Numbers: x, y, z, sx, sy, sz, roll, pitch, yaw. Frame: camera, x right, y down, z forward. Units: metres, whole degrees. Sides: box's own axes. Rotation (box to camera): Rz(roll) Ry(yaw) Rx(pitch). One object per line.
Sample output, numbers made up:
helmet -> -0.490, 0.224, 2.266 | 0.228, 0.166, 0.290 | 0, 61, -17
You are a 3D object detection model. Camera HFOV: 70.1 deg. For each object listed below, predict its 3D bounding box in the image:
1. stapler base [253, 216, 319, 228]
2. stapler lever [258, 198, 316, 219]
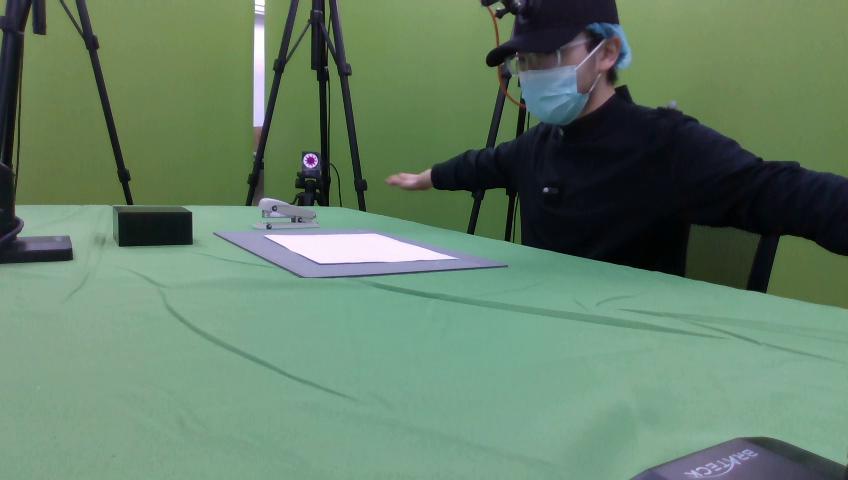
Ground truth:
stapler base -> -0.274, -0.037, 1.203 | 0.131, 0.024, 0.041 | -1, 11, -40
stapler lever -> -0.271, -0.062, 1.201 | 0.119, 0.040, 0.026 | -1, 11, -40
